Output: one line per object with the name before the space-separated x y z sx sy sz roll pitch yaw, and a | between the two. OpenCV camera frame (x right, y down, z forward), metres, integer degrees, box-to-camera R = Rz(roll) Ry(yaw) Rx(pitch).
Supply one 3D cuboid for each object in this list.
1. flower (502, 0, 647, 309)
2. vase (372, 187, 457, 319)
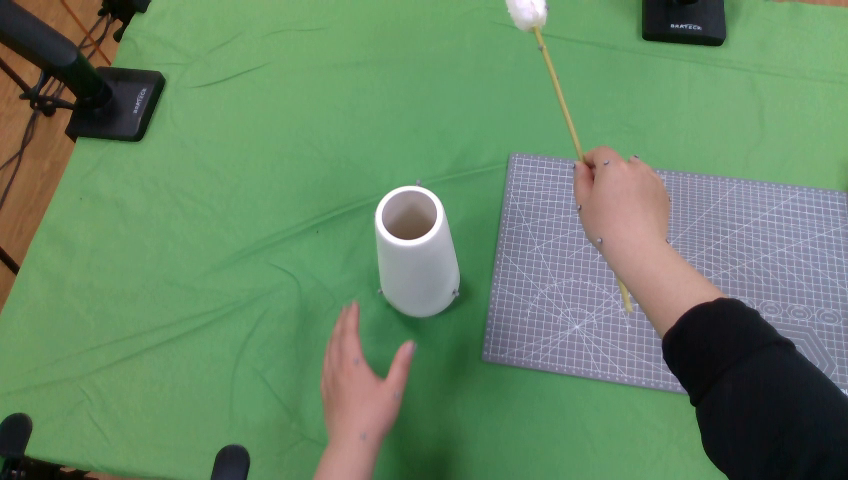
flower | 0.148 -0.103 0.596 0.038 0.044 0.360 -25 78 31
vase | -0.010 0.019 0.683 0.098 0.201 0.097 -1 65 2
